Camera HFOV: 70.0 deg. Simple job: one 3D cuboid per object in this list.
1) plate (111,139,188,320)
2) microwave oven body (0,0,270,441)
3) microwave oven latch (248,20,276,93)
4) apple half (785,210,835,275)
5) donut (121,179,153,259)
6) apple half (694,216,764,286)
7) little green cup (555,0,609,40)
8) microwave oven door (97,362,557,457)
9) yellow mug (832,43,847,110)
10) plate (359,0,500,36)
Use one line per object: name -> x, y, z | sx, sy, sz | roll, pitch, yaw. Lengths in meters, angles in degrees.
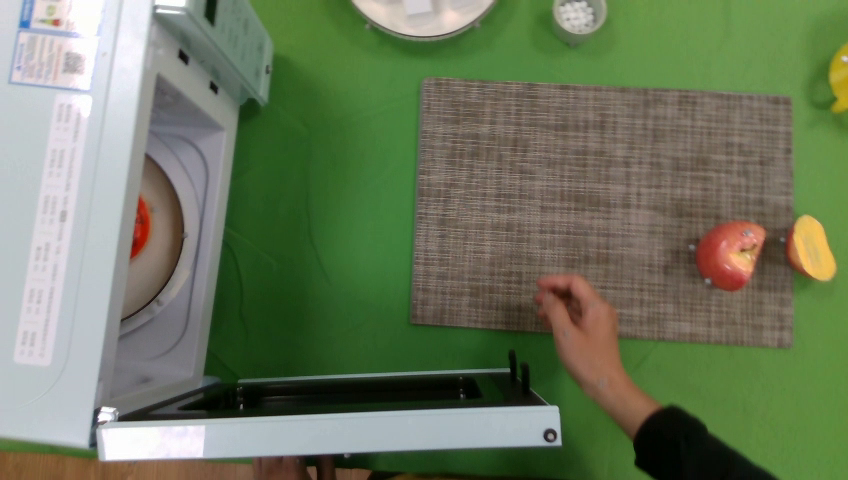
plate -> -0.354, -0.015, 0.648 | 0.209, 0.038, 0.208 | 0, 86, -1
microwave oven body -> -0.361, -0.065, 0.600 | 0.326, 0.260, 0.441 | 6, 86, 0
microwave oven latch -> -0.192, -0.215, 0.707 | 0.030, 0.029, 0.079 | 8, 86, 1
apple half -> 0.438, 0.006, 0.702 | 0.082, 0.033, 0.081 | 10, 71, -29
donut -> -0.336, -0.025, 0.638 | 0.099, 0.048, 0.099 | 0, 88, 0
apple half -> 0.337, 0.007, 0.686 | 0.053, 0.075, 0.081 | 23, 89, 6
little green cup -> 0.188, -0.274, 0.730 | 0.061, 0.039, 0.061 | 0, 85, 1
microwave oven door -> -0.072, 0.153, 0.577 | 0.356, 0.244, 0.039 | -2, 84, 0
yellow mug -> 0.537, -0.196, 0.708 | 0.131, 0.064, 0.100 | -38, 86, -2
plate -> 0.007, -0.345, 0.736 | 0.208, 0.039, 0.207 | 0, 85, 0
